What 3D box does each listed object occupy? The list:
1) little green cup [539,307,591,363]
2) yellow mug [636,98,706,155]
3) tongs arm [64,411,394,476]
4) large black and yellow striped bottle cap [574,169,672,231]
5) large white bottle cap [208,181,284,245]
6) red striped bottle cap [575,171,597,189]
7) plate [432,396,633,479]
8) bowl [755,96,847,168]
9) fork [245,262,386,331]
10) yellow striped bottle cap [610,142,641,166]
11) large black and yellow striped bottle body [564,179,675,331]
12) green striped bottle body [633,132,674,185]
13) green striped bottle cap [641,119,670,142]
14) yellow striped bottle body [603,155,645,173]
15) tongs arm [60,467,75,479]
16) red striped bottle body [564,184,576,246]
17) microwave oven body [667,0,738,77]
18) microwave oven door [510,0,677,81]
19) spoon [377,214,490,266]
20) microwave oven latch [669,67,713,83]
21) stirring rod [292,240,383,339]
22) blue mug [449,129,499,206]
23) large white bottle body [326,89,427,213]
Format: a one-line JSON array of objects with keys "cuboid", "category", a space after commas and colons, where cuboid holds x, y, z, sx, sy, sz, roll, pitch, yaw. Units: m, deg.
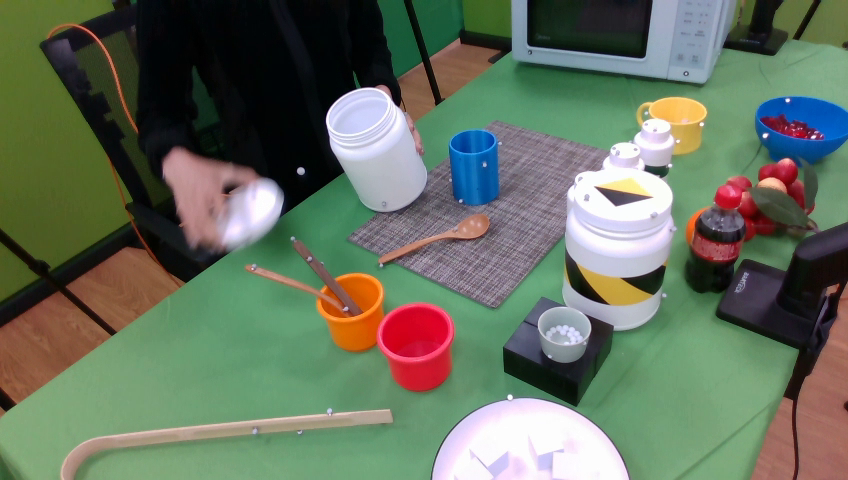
[{"cuboid": [0.167, 0.114, 0.721, 0.061, 0.039, 0.061, -4, 43, 4], "category": "little green cup"}, {"cuboid": [0.453, -0.217, 1.128, 0.100, 0.064, 0.129, -34, 46, -27], "category": "yellow mug"}, {"cuboid": [-0.228, 0.241, 0.715, 0.385, 0.026, 0.050, -5, 44, 4], "category": "tongs arm"}, {"cuboid": [0.242, -0.051, 0.738, 0.115, 0.019, 0.114, -4, 37, 3], "category": "large black and yellow striped bottle cap"}, {"cuboid": [-0.256, -0.041, 0.868, 0.114, 0.018, 0.114, -16, 42, 15], "category": "large white bottle cap"}, {"cuboid": [0.242, -0.081, 0.876, 0.044, 0.018, 0.044, -5, 44, 5], "category": "red striped bottle cap"}, {"cuboid": [0.112, 0.261, 0.634, 0.209, 0.038, 0.208, -5, 40, 4], "category": "plate"}, {"cuboid": [0.645, -0.177, 1.041, 0.151, 0.077, 0.150, -5, 40, 4], "category": "bowl"}, {"cuboid": [-0.141, 0.076, 0.807, 0.209, 0.018, 0.028, 29, 51, -24], "category": "fork"}, {"cuboid": [0.308, -0.131, 0.925, 0.044, 0.019, 0.044, -4, 45, 5], "category": "yellow striped bottle cap"}, {"cuboid": [0.253, 0.014, 0.793, 0.131, 0.185, 0.130, -5, 40, 4], "category": "large black and yellow striped bottle body"}, {"cuboid": [0.376, -0.135, 1.001, 0.063, 0.120, 0.063, -5, 40, 5], "category": "green striped bottle body"}, {"cuboid": [0.371, -0.175, 0.968, 0.044, 0.020, 0.044, -4, 42, 4], "category": "green striped bottle cap"}, {"cuboid": [0.314, -0.090, 0.957, 0.063, 0.121, 0.062, -4, 40, 4], "category": "yellow striped bottle body"}, {"cuboid": [-0.239, 0.301, 0.649, 0.386, 0.028, 0.028, 6, 49, 16], "category": "tongs arm"}, {"cuboid": [0.247, -0.041, 0.910, 0.063, 0.120, 0.062, -3, 39, 3], "category": "red striped bottle body"}, {"cuboid": [0.462, -0.552, 1.369, 0.439, 0.261, 0.326, 15, 45, 26], "category": "microwave oven body"}, {"cuboid": [0.353, -0.478, 1.290, 0.353, 0.245, 0.039, 15, 45, 25], "category": "microwave oven door"}, {"cuboid": [0.015, 0.001, 0.966, 0.194, 0.022, 0.041, -18, 62, -12], "category": "spoon"}, {"cuboid": [0.556, -0.349, 1.261, 0.078, 0.029, 0.030, 16, 46, 27], "category": "microwave oven latch"}, {"cuboid": [-0.118, 0.068, 0.826, 0.176, 0.006, 0.014, 48, 59, -4], "category": "stirring rod"}, {"cuboid": [0.091, -0.134, 1.051, 0.082, 0.106, 0.116, 4, 41, 13], "category": "blue mug"}, {"cuboid": [-0.080, -0.148, 1.014, 0.130, 0.186, 0.130, -9, 52, 12], "category": "large white bottle body"}]
